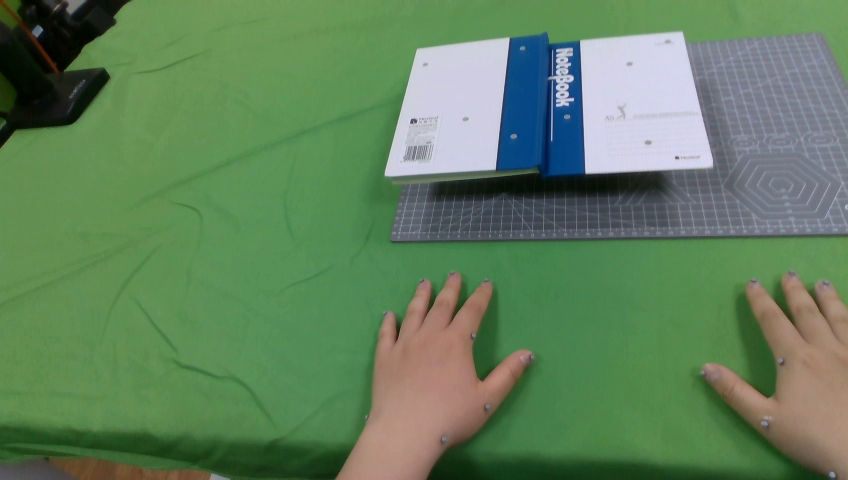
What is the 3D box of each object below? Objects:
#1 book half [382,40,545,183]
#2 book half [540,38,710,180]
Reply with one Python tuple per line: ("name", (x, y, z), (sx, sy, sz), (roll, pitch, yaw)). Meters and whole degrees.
("book half", (0.047, -0.135, 0.618), (0.148, 0.016, 0.208), (-1, 50, 14))
("book half", (0.187, -0.133, 0.591), (0.143, 0.007, 0.208), (-1, 49, 13))
